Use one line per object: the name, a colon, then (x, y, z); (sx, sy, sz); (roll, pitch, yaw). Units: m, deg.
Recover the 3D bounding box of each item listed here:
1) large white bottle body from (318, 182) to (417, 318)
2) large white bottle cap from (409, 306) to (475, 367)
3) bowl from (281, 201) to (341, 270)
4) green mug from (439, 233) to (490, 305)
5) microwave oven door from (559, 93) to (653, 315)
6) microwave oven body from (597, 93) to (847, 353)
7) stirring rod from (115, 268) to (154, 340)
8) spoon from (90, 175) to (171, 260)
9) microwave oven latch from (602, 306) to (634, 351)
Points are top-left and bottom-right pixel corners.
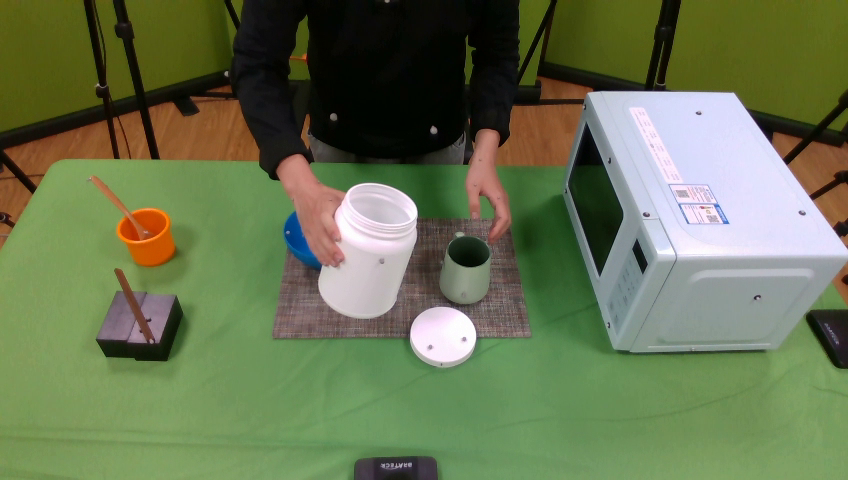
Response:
large white bottle body: (-0.086, 0.015, 0.938); (0.131, 0.185, 0.130); (13, 35, -9)
large white bottle cap: (0.031, 0.164, 1.040); (0.115, 0.018, 0.114); (3, 50, -3)
bowl: (-0.187, 0.005, 1.137); (0.151, 0.077, 0.150); (3, 46, -3)
green mug: (0.072, 0.045, 1.101); (0.092, 0.105, 0.124); (-6, 46, -9)
microwave oven door: (0.327, -0.074, 1.123); (0.039, 0.245, 0.353); (-1, 46, -5)
microwave oven body: (0.475, -0.041, 1.109); (0.326, 0.261, 0.438); (-1, 45, -4)
stirring rod: (-0.479, 0.102, 0.999); (0.014, 0.006, 0.175); (8, 32, -49)
spoon: (-0.539, -0.042, 1.111); (0.021, 0.194, 0.041); (-14, 26, 52)
microwave oven latch: (0.332, 0.153, 1.044); (0.030, 0.029, 0.078); (0, 45, -4)
